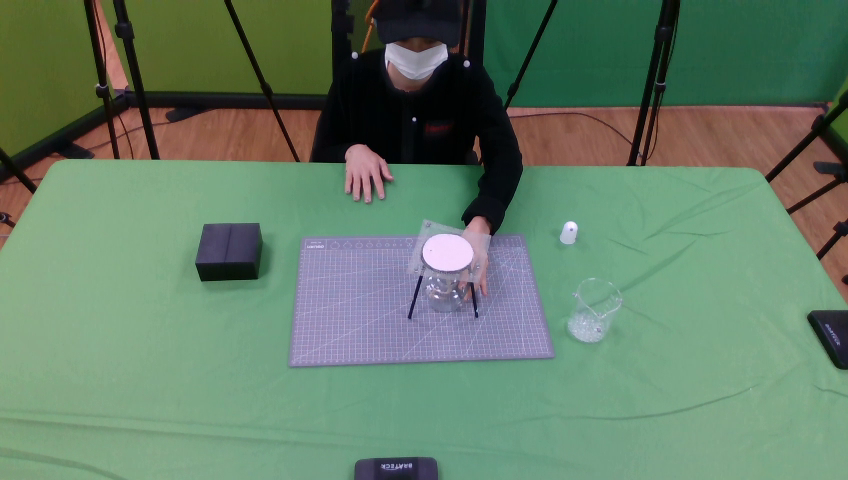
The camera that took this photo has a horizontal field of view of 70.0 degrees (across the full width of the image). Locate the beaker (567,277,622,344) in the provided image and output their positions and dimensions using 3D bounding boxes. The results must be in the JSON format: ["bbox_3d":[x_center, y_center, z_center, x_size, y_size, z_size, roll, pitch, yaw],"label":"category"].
[{"bbox_3d":[0.290,0.127,1.045,0.074,0.101,0.083,7,46,4],"label":"beaker"}]

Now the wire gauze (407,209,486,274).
[{"bbox_3d":[0.036,0.003,1.001,0.125,0.011,0.120,-7,52,-1],"label":"wire gauze"}]

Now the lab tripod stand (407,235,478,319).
[{"bbox_3d":[0.032,0.065,1.057,0.148,0.132,0.147,1,45,-1],"label":"lab tripod stand"}]

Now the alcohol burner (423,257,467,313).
[{"bbox_3d":[0.038,0.072,1.064,0.078,0.120,0.077,1,47,-1],"label":"alcohol burner"}]

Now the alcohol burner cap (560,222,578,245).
[{"bbox_3d":[0.295,-0.016,1.225,0.034,0.048,0.033,1,47,-1],"label":"alcohol burner cap"}]
